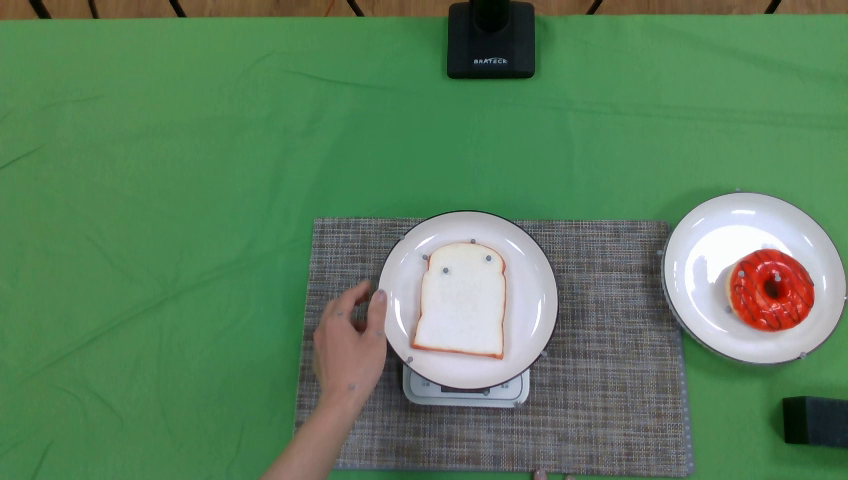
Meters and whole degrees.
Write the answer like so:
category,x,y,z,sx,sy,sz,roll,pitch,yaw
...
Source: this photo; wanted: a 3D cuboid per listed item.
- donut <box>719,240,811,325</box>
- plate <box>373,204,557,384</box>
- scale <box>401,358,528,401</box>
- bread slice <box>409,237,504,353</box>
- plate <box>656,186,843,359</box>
category,x,y,z,sx,sy,sz,roll,pitch,yaw
donut,0.394,0.050,0.703,0.099,0.048,0.098,0,78,2
plate,0.047,0.061,0.698,0.209,0.038,0.208,-1,75,3
scale,0.049,0.088,0.724,0.148,0.032,0.200,1,74,4
bread slice,0.041,0.060,0.701,0.105,0.019,0.131,5,75,3
plate,0.378,0.038,0.719,0.207,0.039,0.206,-1,74,3
